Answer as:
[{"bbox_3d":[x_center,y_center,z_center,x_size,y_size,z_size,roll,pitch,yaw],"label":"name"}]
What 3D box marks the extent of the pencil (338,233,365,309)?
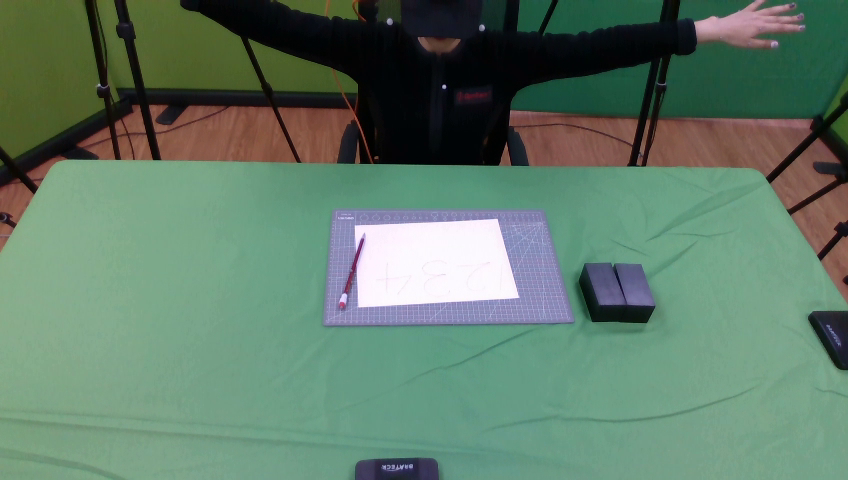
[{"bbox_3d":[-0.134,0.053,1.142,0.012,0.012,0.193,8,45,4],"label":"pencil"}]
